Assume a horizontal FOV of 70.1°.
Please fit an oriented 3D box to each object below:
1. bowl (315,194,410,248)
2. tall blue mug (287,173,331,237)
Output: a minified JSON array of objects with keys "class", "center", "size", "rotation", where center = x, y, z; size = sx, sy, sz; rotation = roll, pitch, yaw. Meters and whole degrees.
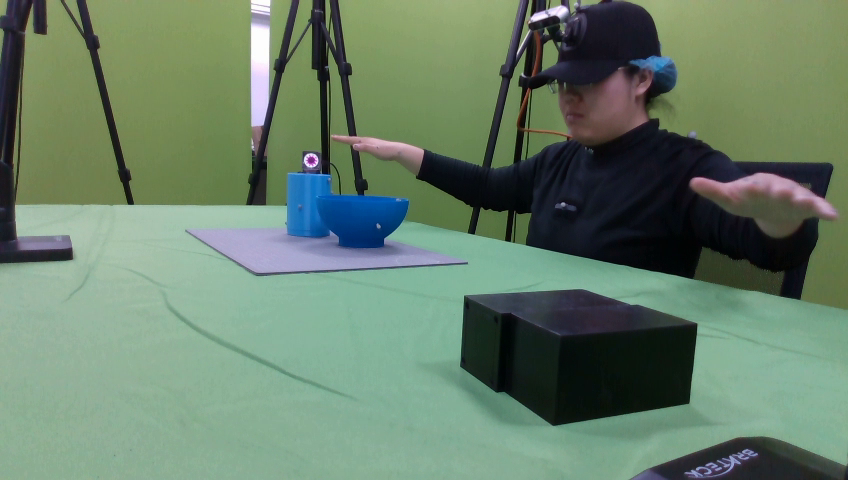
[{"class":"bowl","center":[-0.100,-0.031,0.971],"size":[0.151,0.077,0.151],"rotation":[2,7,0]},{"class":"tall blue mug","center":[-0.207,-0.066,1.088],"size":[0.078,0.108,0.107],"rotation":[0,8,-12]}]
